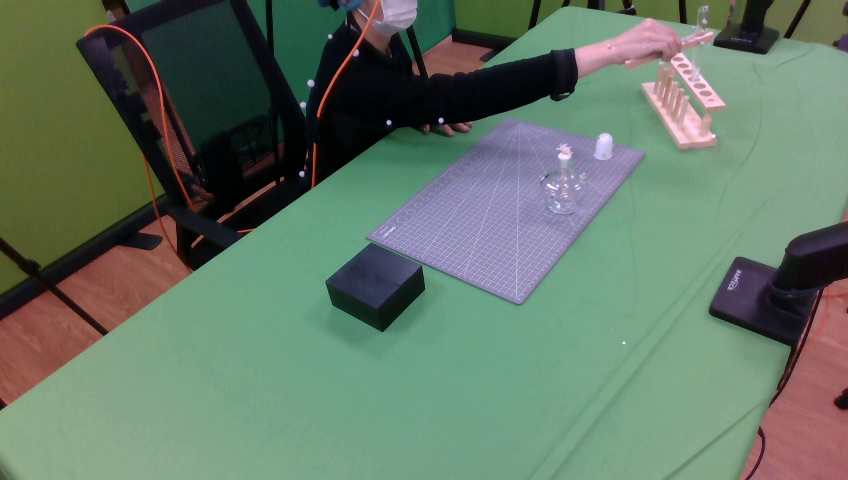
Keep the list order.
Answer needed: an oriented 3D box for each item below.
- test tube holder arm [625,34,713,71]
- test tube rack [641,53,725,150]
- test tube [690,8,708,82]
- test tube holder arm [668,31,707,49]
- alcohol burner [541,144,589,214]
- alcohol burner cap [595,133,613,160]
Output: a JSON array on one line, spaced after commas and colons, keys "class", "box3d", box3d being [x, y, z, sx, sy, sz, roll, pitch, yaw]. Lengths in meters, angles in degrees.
[{"class": "test tube holder arm", "box3d": [0.430, -0.329, 1.058, 0.179, 0.015, 0.013, -22, 42, -13]}, {"class": "test tube rack", "box3d": [0.495, -0.279, 1.175, 0.067, 0.085, 0.241, -5, 41, 3]}, {"class": "test tube", "box3d": [0.494, -0.343, 1.089, 0.017, 0.151, 0.017, -8, 45, 8]}, {"class": "test tube holder arm", "box3d": [0.467, -0.349, 1.073, 0.088, 0.015, 0.010, -27, 44, -18]}, {"class": "alcohol burner", "box3d": [0.229, -0.102, 0.983, 0.078, 0.119, 0.077, -6, 41, 5]}, {"class": "alcohol burner cap", "box3d": [0.330, -0.172, 1.104, 0.034, 0.048, 0.033, -5, 41, 5]}]
